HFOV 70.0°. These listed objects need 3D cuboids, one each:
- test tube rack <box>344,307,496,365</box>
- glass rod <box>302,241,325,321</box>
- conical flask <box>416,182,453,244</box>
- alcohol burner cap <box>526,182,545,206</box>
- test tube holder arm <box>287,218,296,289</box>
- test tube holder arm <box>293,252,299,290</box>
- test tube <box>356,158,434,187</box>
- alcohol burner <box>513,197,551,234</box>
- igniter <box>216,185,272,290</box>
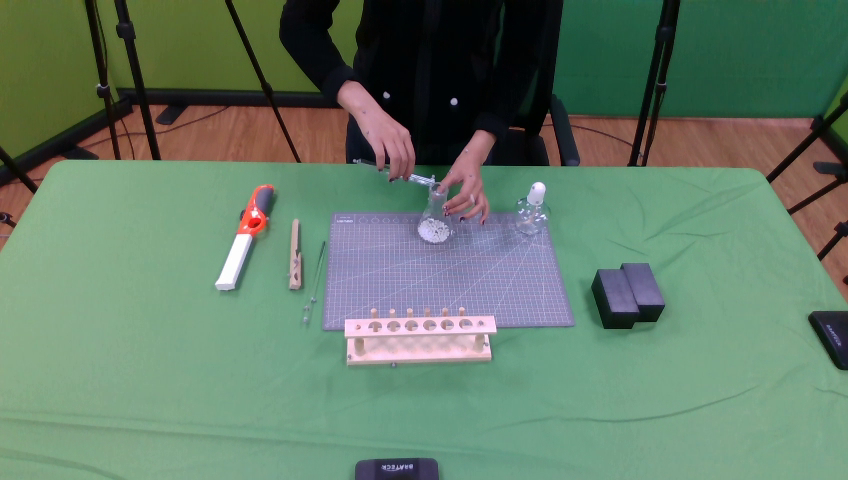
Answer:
[{"bbox_3d":[-0.009,0.154,1.007,0.242,0.085,0.066,-1,46,-5],"label":"test tube rack"},{"bbox_3d":[-0.204,0.071,1.124,0.008,0.008,0.198,4,44,0],"label":"glass rod"},{"bbox_3d":[0.023,-0.056,1.183,0.075,0.122,0.075,2,46,-2],"label":"conical flask"},{"bbox_3d":[0.222,-0.093,1.190,0.034,0.048,0.033,2,54,-3],"label":"alcohol burner cap"},{"bbox_3d":[-0.254,0.022,1.158,0.013,0.015,0.177,24,35,-35],"label":"test tube holder arm"},{"bbox_3d":[-0.241,0.056,1.131,0.010,0.015,0.087,25,35,-34],"label":"test tube holder arm"},{"bbox_3d":[-0.052,-0.123,1.108,0.151,0.017,0.017,14,43,-18],"label":"test tube"},{"bbox_3d":[0.220,-0.069,1.217,0.078,0.119,0.077,3,47,-3],"label":"alcohol burner"},{"bbox_3d":[-0.347,-0.014,1.182,0.057,0.025,0.275,-1,45,8],"label":"igniter"}]
